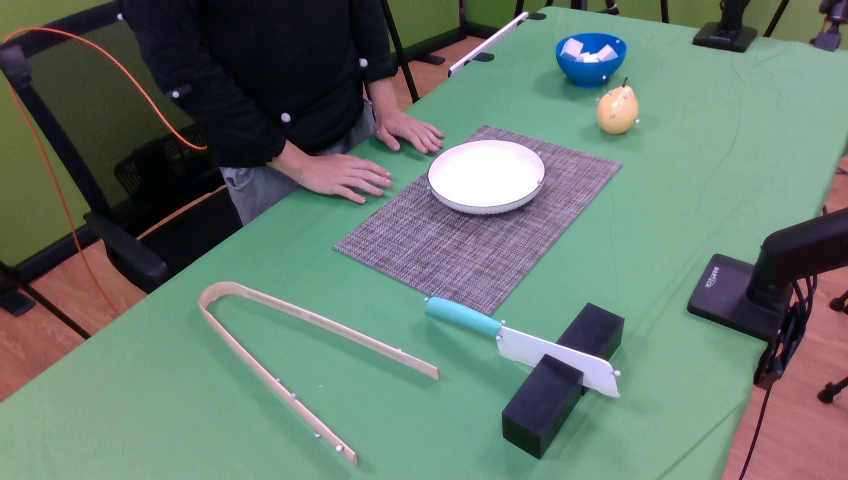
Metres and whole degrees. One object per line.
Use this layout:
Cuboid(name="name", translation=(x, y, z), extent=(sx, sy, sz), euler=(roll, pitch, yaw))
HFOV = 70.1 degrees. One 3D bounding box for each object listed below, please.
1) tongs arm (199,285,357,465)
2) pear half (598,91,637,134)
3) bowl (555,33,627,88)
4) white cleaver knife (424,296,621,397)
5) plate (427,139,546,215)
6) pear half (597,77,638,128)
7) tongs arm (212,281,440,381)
Cuboid(name="tongs arm", translation=(-0.199, 0.162, 0.797), extent=(0.381, 0.026, 0.051), euler=(28, 50, 35))
Cuboid(name="pear half", translation=(0.366, -0.235, 1.137), extent=(0.070, 0.088, 0.031), euler=(10, 43, 5))
Cuboid(name="bowl", translation=(0.360, -0.384, 1.318), extent=(0.151, 0.077, 0.150), euler=(-4, 41, 4))
Cuboid(name="white cleaver knife", translation=(0.110, 0.132, 0.761), extent=(0.284, 0.066, 0.021), euler=(17, 42, 39))
Cuboid(name="plate", translation=(0.109, -0.107, 1.058), extent=(0.207, 0.039, 0.206), euler=(-4, 40, 4))
Cuboid(name="pear half", translation=(0.373, -0.266, 1.155), extent=(0.076, 0.110, 0.056), euler=(10, 44, 4))
Cuboid(name="tongs arm", translation=(-0.148, 0.121, 0.845), extent=(0.385, 0.028, 0.028), euler=(17, 48, 25))
